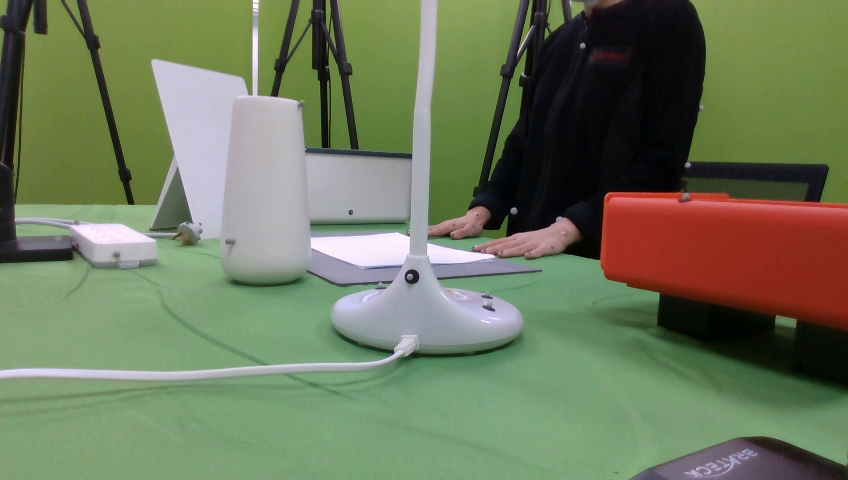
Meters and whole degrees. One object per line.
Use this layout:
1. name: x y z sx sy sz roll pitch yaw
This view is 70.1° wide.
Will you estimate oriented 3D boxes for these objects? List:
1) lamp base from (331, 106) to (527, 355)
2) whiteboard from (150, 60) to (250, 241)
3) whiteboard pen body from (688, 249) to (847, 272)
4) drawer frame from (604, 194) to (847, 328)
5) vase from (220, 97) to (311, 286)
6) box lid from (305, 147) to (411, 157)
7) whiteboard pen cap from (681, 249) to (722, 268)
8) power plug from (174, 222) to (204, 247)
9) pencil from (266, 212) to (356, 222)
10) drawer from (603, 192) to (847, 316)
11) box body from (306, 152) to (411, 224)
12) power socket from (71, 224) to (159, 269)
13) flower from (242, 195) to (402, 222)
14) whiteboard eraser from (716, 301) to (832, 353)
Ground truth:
1. lamp base: 0.006 -0.012 0.478 0.161 0.180 0.179 2 10 2
2. whiteboard: -0.408 -0.139 1.093 0.143 0.305 0.218 -15 -1 26
3. whiteboard pen body: 0.304 0.017 0.521 0.140 0.017 0.017 2 7 27
4. drawer frame: 0.298 0.007 0.497 0.203 0.082 0.212 -1 7 -34
5. vase: -0.172 -0.052 0.662 0.098 0.200 0.098 3 8 0
6. box lid: -0.229 -0.200 1.361 0.373 0.015 0.262 -2 9 -33
7. whiteboard pen cap: 0.250 0.017 0.544 0.033 0.018 0.018 2 7 25
8. power plug: -0.360 0.000 0.917 0.072 0.035 0.053 -42 4 39
9. pencil: -0.244 -0.049 1.319 0.195 0.012 0.012 4 7 -12
10. drawer: 0.293 0.002 0.500 0.195 0.073 0.210 -1 8 -34
11. box body: -0.230 -0.126 1.372 0.366 0.160 0.253 -2 9 -33
12. power socket: -0.409 0.004 0.792 0.072 0.032 0.225 -2 8 -37
13. flower: -0.231 -0.064 1.373 0.362 0.038 0.044 6 40 -2
14. whiteboard eraser: 0.256 0.042 0.472 0.112 0.042 0.056 44 20 31
